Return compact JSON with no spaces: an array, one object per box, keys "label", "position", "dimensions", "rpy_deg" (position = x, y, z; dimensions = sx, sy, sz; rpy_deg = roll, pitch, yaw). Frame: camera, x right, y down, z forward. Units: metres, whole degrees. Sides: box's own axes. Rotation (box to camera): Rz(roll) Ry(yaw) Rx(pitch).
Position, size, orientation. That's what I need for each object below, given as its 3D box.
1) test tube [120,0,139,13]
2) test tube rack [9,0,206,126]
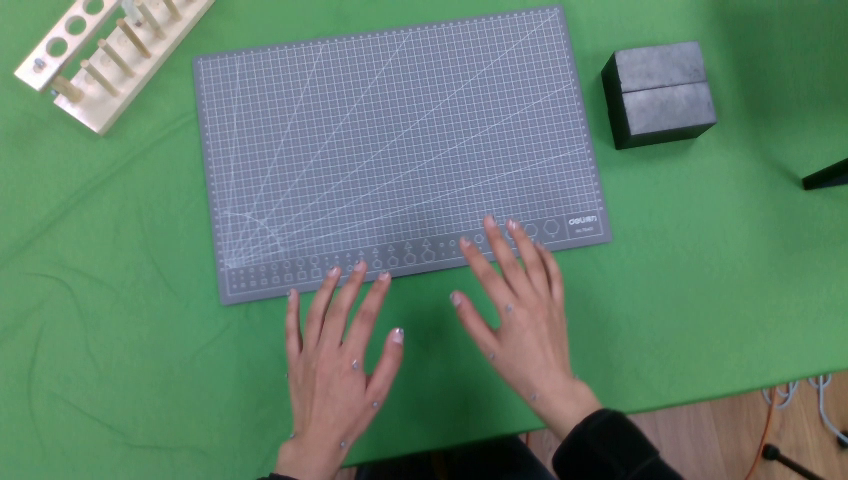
[{"label":"test tube","position":[-0.332,-0.287,0.633],"dimensions":[0.017,0.151,0.017],"rpy_deg":[1,75,-4]},{"label":"test tube rack","position":[-0.331,-0.253,0.677],"dimensions":[0.066,0.085,0.242],"rpy_deg":[35,81,4]}]
